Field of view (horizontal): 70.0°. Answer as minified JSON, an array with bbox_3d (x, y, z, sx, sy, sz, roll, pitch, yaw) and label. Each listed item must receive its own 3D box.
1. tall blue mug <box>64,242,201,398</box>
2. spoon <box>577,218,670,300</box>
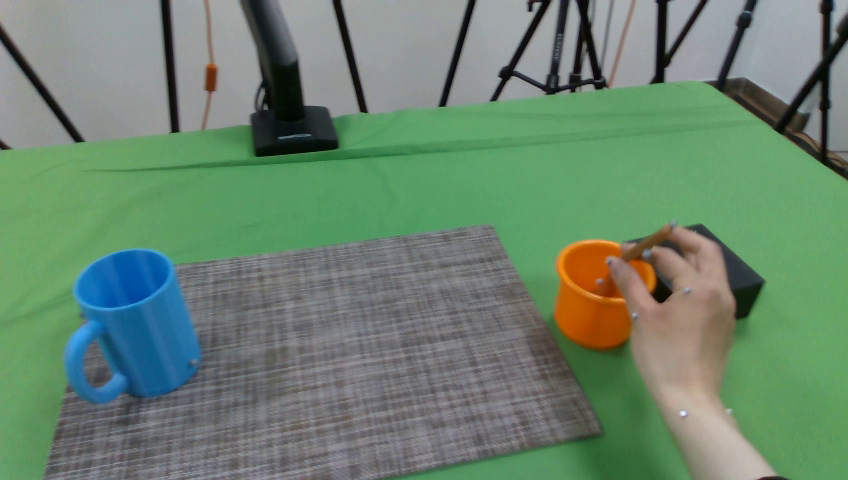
[{"bbox_3d":[-0.244,0.077,0.516,0.078,0.109,0.106,-2,39,-5],"label":"tall blue mug"},{"bbox_3d":[0.173,0.020,0.538,0.041,0.195,0.021,-30,70,-12],"label":"spoon"}]
